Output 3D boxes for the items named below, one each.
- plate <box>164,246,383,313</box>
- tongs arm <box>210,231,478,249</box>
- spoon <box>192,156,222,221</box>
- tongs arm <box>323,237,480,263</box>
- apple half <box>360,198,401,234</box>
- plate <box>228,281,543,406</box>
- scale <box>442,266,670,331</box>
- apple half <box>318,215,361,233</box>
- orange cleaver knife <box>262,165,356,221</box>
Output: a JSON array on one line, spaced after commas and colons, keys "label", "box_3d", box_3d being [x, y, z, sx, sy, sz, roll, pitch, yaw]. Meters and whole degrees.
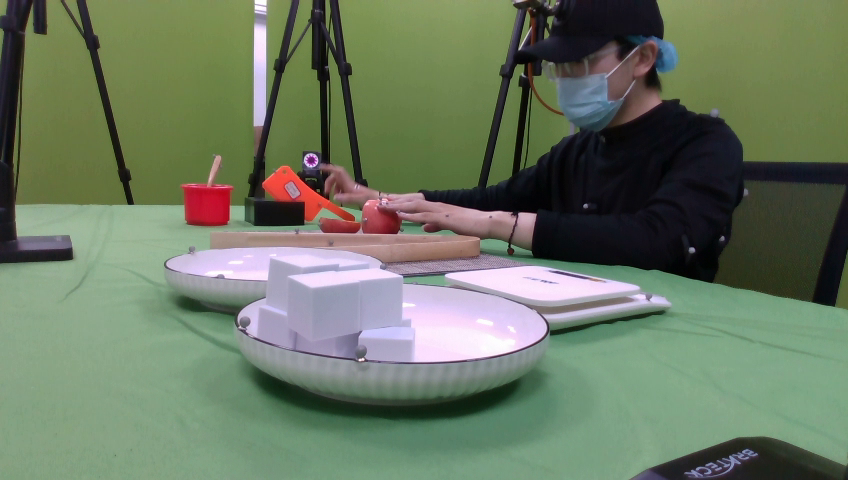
[{"label": "plate", "box_3d": [-0.145, 0.038, 0.600, 0.209, 0.038, 0.209, 2, 7, 0]}, {"label": "tongs arm", "box_3d": [-0.106, 0.004, 0.876, 0.386, 0.026, 0.050, 0, 7, -20]}, {"label": "spoon", "box_3d": [-0.430, -0.108, 1.222, 0.041, 0.021, 0.193, -1, 52, 0]}, {"label": "tongs arm", "box_3d": [-0.070, 0.017, 0.801, 0.390, 0.028, 0.028, -2, 5, -34]}, {"label": "apple half", "box_3d": [-0.066, -0.032, 1.013, 0.053, 0.074, 0.081, 9, 5, 20]}, {"label": "plate", "box_3d": [-0.025, 0.067, 0.413, 0.208, 0.039, 0.207, 3, 7, 0]}, {"label": "scale", "box_3d": [0.131, 0.052, 0.602, 0.202, 0.031, 0.148, -2, 9, -37]}, {"label": "apple half", "box_3d": [-0.147, -0.018, 1.035, 0.081, 0.033, 0.081, 10, -6, 1]}, {"label": "orange cleaver knife", "box_3d": [-0.243, -0.081, 1.292, 0.212, 0.077, 0.012, 34, -7, -26]}]
